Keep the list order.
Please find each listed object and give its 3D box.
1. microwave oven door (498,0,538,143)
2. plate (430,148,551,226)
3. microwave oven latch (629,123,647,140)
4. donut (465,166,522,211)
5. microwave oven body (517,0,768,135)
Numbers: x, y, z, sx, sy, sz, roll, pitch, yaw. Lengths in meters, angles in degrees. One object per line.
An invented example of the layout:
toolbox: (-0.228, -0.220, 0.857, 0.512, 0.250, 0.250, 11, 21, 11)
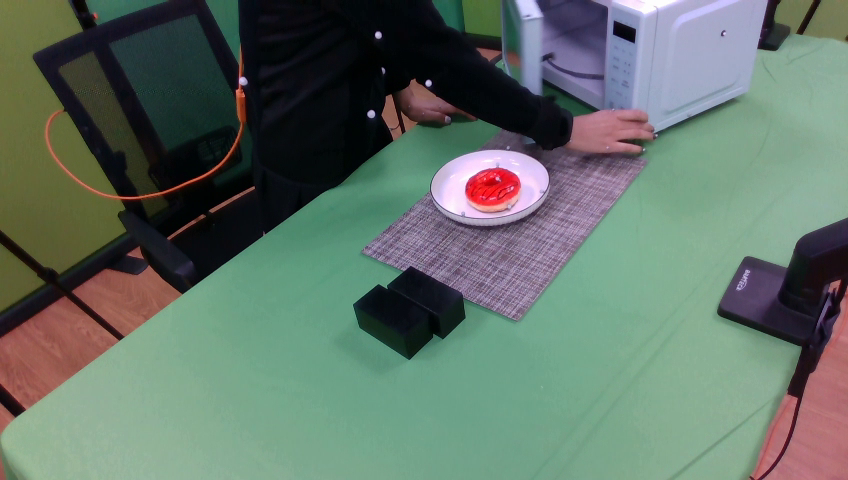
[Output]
microwave oven door: (0.184, -0.390, 1.210, 0.039, 0.245, 0.354, -6, 40, 4)
plate: (0.115, -0.089, 1.049, 0.209, 0.038, 0.208, -5, 40, 5)
microwave oven latch: (0.395, -0.216, 1.124, 0.030, 0.029, 0.079, 1, 41, 15)
donut: (0.118, -0.089, 1.031, 0.099, 0.048, 0.098, -7, 41, 7)
microwave oven body: (0.411, -0.441, 1.235, 0.327, 0.261, 0.437, -25, 42, -16)
